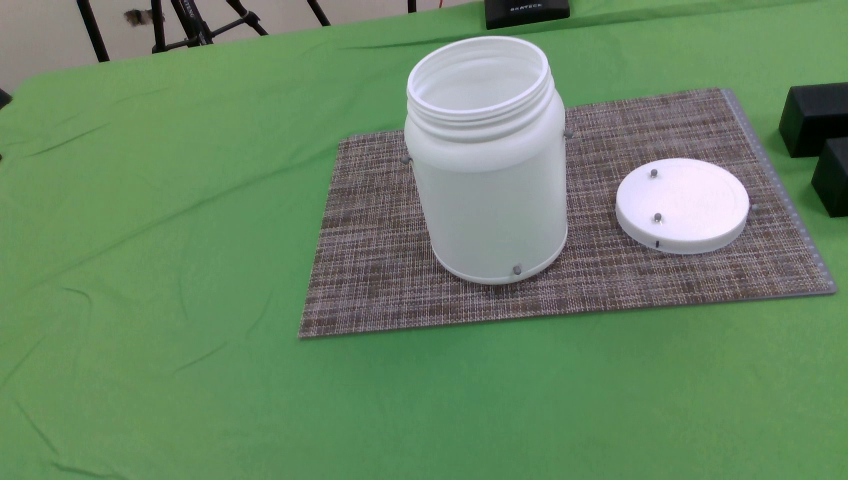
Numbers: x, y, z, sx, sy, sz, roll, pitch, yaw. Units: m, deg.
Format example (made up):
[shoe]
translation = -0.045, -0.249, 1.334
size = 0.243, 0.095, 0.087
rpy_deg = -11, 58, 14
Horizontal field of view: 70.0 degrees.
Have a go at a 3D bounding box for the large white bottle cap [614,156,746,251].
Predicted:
[large white bottle cap]
translation = 0.238, -0.037, 0.566
size = 0.115, 0.018, 0.113
rpy_deg = -7, 46, 8

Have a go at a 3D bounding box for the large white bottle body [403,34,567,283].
[large white bottle body]
translation = 0.055, -0.066, 0.522
size = 0.130, 0.186, 0.129
rpy_deg = -7, 45, 8
